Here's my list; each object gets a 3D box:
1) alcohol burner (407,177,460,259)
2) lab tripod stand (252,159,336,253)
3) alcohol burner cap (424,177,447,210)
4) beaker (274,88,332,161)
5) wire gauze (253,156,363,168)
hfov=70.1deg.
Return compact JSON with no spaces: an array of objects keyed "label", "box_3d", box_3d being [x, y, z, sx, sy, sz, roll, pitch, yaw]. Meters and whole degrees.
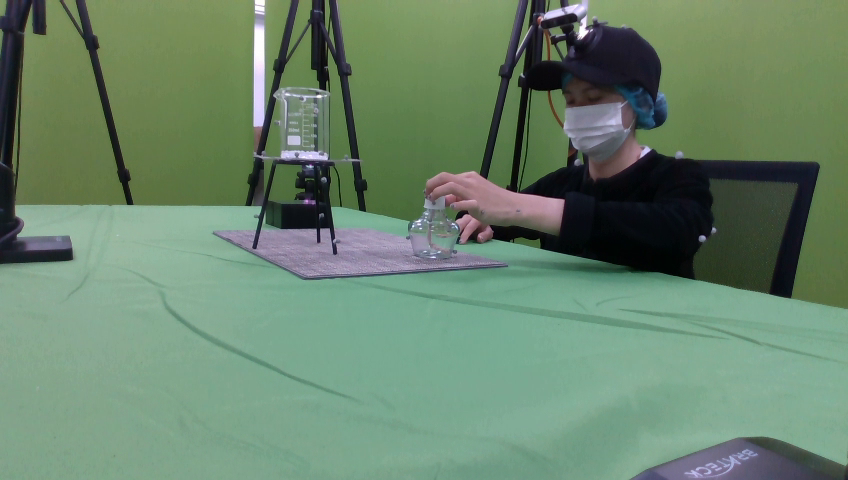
[{"label":"alcohol burner","box_3d":[0.015,-0.032,0.882,0.078,0.119,0.078,2,5,0]},{"label":"lab tripod stand","box_3d":[-0.180,-0.053,0.900,0.148,0.131,0.148,1,6,0]},{"label":"alcohol burner cap","box_3d":[0.018,-0.067,0.875,0.034,0.048,0.034,4,8,0]},{"label":"beaker","box_3d":[-0.177,-0.165,0.879,0.084,0.100,0.074,2,5,1]},{"label":"wire gauze","box_3d":[-0.172,-0.117,0.891,0.122,0.011,0.124,0,3,-38]}]
